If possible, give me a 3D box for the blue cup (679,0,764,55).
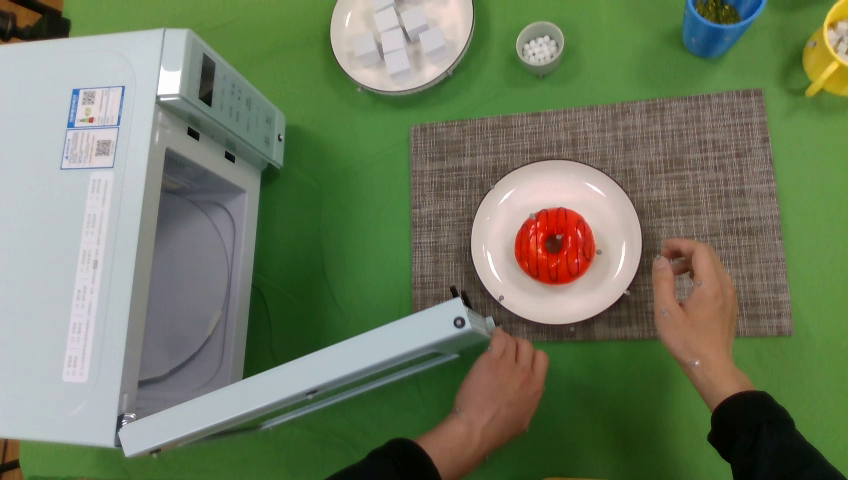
[{"bbox_3d":[0.350,-0.273,0.731,0.092,0.101,0.092,-2,81,12],"label":"blue cup"}]

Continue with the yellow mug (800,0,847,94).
[{"bbox_3d":[0.495,-0.222,0.707,0.131,0.064,0.099,-45,74,3],"label":"yellow mug"}]

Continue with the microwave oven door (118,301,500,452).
[{"bbox_3d":[-0.100,0.146,0.661,0.356,0.245,0.039,-22,75,8],"label":"microwave oven door"}]

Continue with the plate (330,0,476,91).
[{"bbox_3d":[-0.028,-0.304,0.853,0.207,0.039,0.206,-2,79,12],"label":"plate"}]

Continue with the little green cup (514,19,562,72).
[{"bbox_3d":[0.153,-0.256,0.804,0.061,0.039,0.061,-2,79,13],"label":"little green cup"}]

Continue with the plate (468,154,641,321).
[{"bbox_3d":[0.159,-0.003,0.752,0.208,0.038,0.208,-2,79,12],"label":"plate"}]

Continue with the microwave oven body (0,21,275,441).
[{"bbox_3d":[-0.388,0.001,0.757,0.325,0.261,0.440,0,80,12],"label":"microwave oven body"}]

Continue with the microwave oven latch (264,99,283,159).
[{"bbox_3d":[-0.216,-0.155,0.848,0.030,0.029,0.079,1,81,12],"label":"microwave oven latch"}]

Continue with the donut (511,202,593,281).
[{"bbox_3d":[0.156,0.002,0.740,0.099,0.048,0.098,-2,82,12],"label":"donut"}]
